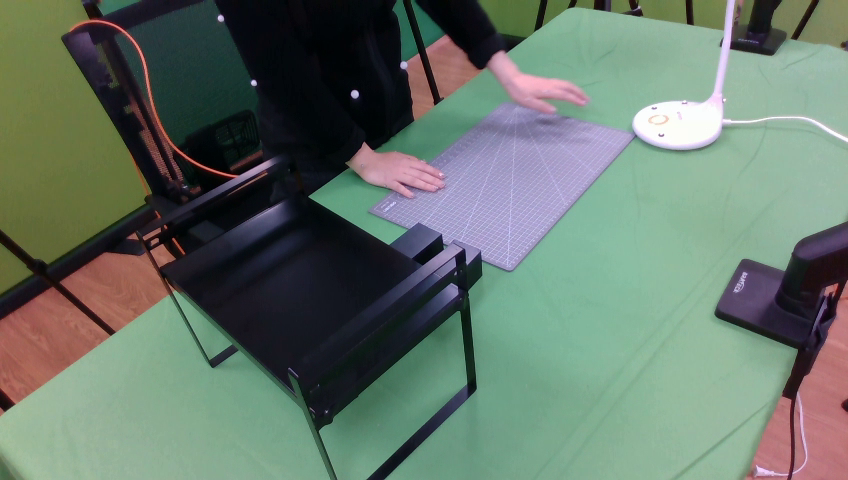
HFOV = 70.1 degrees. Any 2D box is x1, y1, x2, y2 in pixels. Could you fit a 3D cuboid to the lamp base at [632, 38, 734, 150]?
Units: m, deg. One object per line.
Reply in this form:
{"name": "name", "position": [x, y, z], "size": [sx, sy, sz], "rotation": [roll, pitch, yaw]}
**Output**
{"name": "lamp base", "position": [0.486, -0.280, 1.107], "size": [0.179, 0.181, 0.159], "rotation": [-5, 41, -1]}
